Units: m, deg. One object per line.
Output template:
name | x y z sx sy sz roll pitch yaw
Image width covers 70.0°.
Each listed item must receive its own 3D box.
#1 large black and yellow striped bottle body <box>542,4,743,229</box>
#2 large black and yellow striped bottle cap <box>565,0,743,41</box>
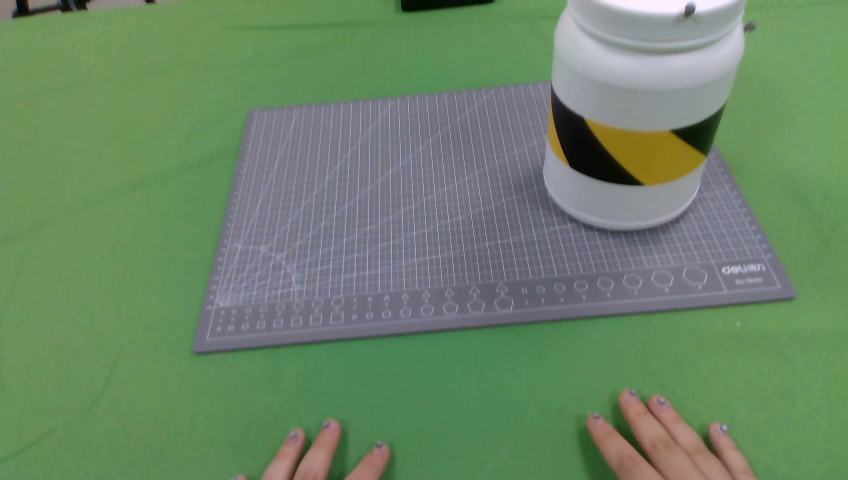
large black and yellow striped bottle body | 0.161 -0.114 0.466 0.131 0.186 0.129 -3 48 4
large black and yellow striped bottle cap | 0.153 -0.170 0.404 0.115 0.019 0.114 -2 48 3
